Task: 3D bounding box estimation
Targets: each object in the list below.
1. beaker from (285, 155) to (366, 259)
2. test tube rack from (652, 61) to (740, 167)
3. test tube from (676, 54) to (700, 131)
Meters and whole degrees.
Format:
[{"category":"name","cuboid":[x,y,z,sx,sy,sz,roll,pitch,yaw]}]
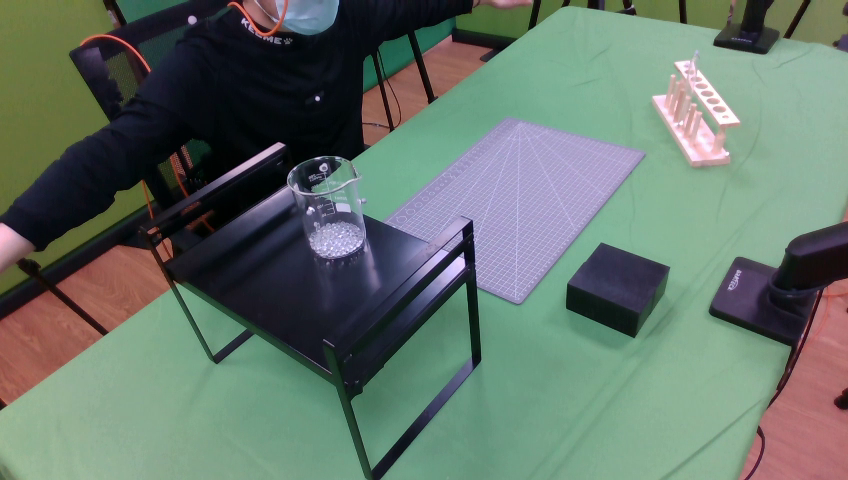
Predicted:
[{"category":"beaker","cuboid":[-0.105,-0.035,0.690,0.084,0.101,0.073,-4,41,3]},{"category":"test tube rack","cuboid":[0.499,-0.242,1.130,0.067,0.085,0.241,-5,41,3]},{"category":"test tube","cuboid":[0.475,-0.263,1.088,0.017,0.151,0.017,-4,43,4]}]
